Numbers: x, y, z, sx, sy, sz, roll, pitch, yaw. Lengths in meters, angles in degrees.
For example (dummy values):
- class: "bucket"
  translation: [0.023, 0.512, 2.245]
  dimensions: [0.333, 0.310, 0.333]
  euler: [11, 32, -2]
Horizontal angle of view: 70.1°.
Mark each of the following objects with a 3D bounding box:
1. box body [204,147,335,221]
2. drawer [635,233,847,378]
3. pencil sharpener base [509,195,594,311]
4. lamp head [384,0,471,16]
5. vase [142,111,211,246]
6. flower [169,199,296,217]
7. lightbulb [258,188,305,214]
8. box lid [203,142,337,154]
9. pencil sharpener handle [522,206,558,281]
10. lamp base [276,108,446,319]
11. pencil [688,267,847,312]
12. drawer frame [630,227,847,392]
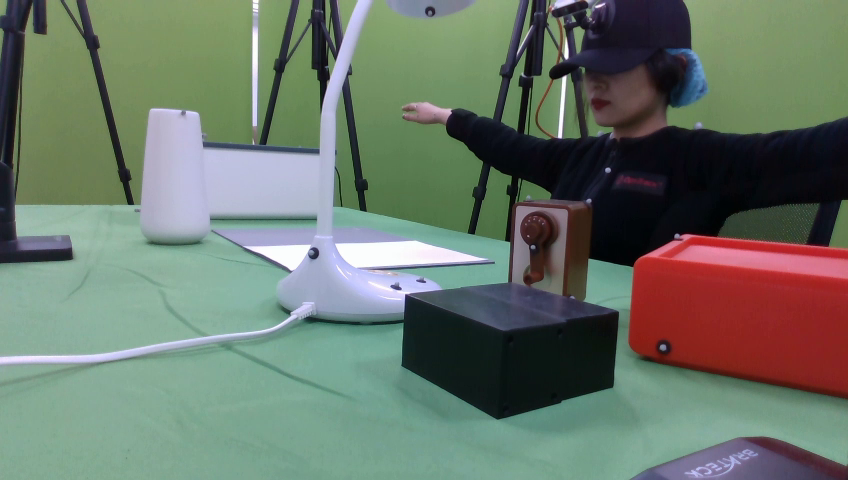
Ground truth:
- class: "box body"
  translation: [-0.411, -0.135, 1.386]
  dimensions: [0.366, 0.160, 0.253]
  euler: [-2, 9, -29]
- class: "drawer"
  translation: [0.292, 0.044, 0.488]
  dimensions: [0.193, 0.073, 0.213]
  euler: [7, 9, 30]
- class: "pencil sharpener base"
  translation: [0.126, 0.011, 0.601]
  dimensions: [0.061, 0.107, 0.077]
  euler: [7, 9, 30]
- class: "lamp head"
  translation: [0.000, -0.301, 0.599]
  dimensions: [0.112, 0.112, 0.123]
  euler: [4, -30, 14]
- class: "vase"
  translation: [-0.378, -0.093, 0.920]
  dimensions: [0.098, 0.200, 0.098]
  euler: [2, 9, 0]
- class: "flower"
  translation: [-0.423, -0.069, 1.399]
  dimensions: [0.044, 0.038, 0.363]
  euler: [2, 2, 31]
- class: "lightbulb"
  translation: [-0.325, -0.082, 1.382]
  dimensions: [0.108, 0.059, 0.059]
  euler: [-15, 9, -6]
- class: "box lid"
  translation: [-0.405, -0.209, 1.377]
  dimensions: [0.373, 0.015, 0.262]
  euler: [-1, 9, -29]
- class: "pencil sharpener handle"
  translation: [0.102, 0.003, 0.555]
  dimensions: [0.036, 0.067, 0.031]
  euler: [0, 5, 31]
- class: "lamp base"
  translation: [-0.061, -0.027, 0.556]
  dimensions: [0.160, 0.180, 0.180]
  euler: [5, 10, 20]
- class: "pencil"
  translation: [0.308, 0.044, 0.515]
  dimensions: [0.194, 0.012, 0.012]
  euler: [13, 5, -12]
- class: "drawer frame"
  translation: [0.292, 0.043, 0.484]
  dimensions: [0.201, 0.082, 0.214]
  euler: [7, 9, 29]
